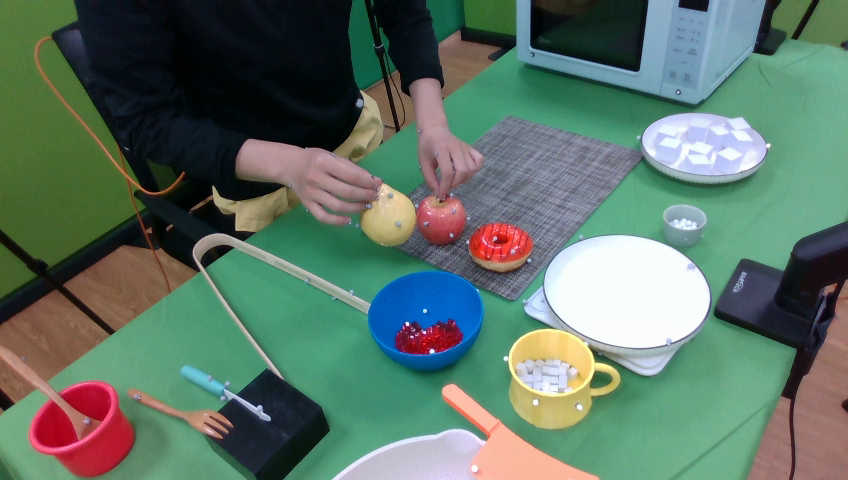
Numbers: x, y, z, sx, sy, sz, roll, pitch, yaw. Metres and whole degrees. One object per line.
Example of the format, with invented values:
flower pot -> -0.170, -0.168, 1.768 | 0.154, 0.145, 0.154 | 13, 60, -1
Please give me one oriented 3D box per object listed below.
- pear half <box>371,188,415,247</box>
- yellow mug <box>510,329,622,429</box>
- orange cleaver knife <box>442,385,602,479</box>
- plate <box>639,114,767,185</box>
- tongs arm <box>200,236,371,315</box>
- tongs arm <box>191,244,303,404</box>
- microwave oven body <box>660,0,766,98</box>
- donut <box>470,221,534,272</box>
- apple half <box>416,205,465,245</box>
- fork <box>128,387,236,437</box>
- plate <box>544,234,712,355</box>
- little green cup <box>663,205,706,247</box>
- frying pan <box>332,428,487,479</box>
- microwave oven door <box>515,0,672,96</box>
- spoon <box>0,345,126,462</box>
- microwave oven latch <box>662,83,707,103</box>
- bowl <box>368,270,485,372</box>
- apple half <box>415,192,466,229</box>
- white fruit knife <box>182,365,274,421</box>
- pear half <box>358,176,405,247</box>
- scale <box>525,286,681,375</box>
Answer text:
pear half -> -0.035, -0.028, 0.807 | 0.031, 0.088, 0.070 | 21, 52, 36
yellow mug -> 0.168, 0.164, 0.721 | 0.130, 0.064, 0.099 | 0, 40, 8
orange cleaver knife -> 0.086, 0.219, 0.612 | 0.209, 0.012, 0.077 | 28, 49, 35
plate -> 0.489, -0.157, 1.074 | 0.207, 0.039, 0.206 | -4, 40, 4
tongs arm -> -0.209, 0.062, 0.924 | 0.381, 0.026, 0.051 | 23, 53, 32
tongs arm -> -0.268, 0.110, 0.882 | 0.028, 0.028, 0.384 | -36, 46, -18
microwave oven body -> 0.472, -0.513, 1.317 | 0.438, 0.261, 0.327 | 26, 51, 34
donut -> 0.118, 0.009, 0.923 | 0.099, 0.048, 0.098 | -3, 39, 3
apple half -> 0.026, -0.017, 0.944 | 0.081, 0.081, 0.032 | -2, 39, 7
fork -> -0.305, 0.207, 0.744 | 0.206, 0.019, 0.028 | 3, 40, 36
plate -> 0.262, 0.072, 0.792 | 0.209, 0.038, 0.208 | -4, 41, 4
little green cup -> 0.396, -0.020, 0.926 | 0.061, 0.039, 0.061 | -4, 40, 4
frying pan -> -0.089, 0.306, 0.564 | 0.487, 0.103, 0.306 | 9, 41, 7
microwave oven door -> 0.343, -0.454, 1.259 | 0.353, 0.245, 0.039 | 26, 51, 33
spoon -> -0.434, 0.192, 0.720 | 0.194, 0.021, 0.042 | 47, 54, -7
microwave oven latch -> 0.517, -0.296, 1.204 | 0.078, 0.029, 0.030 | 27, 52, 35
bowl -> 0.007, 0.119, 0.791 | 0.151, 0.077, 0.150 | -5, 39, 4
apple half -> 0.028, -0.042, 0.974 | 0.080, 0.075, 0.053 | -3, 38, 9
white fruit knife -> -0.245, 0.188, 0.747 | 0.205, 0.027, 0.016 | 9, 41, 41
pear half -> -0.063, -0.047, 0.821 | 0.055, 0.110, 0.076 | 22, 52, 36
scale -> 0.254, 0.091, 0.821 | 0.199, 0.032, 0.149 | 27, 51, 35
